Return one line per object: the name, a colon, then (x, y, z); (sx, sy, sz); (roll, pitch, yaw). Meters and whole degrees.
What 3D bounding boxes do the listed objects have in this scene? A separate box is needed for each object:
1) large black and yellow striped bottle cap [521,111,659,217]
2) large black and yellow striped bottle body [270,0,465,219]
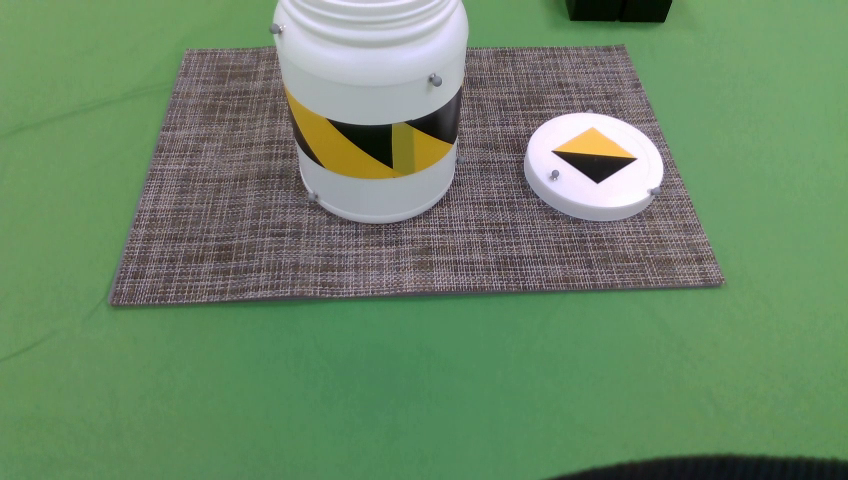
large black and yellow striped bottle cap: (0.141, -0.068, 0.517); (0.115, 0.019, 0.114); (2, 52, -2)
large black and yellow striped bottle body: (-0.038, -0.119, 0.441); (0.131, 0.185, 0.129); (1, 53, -2)
